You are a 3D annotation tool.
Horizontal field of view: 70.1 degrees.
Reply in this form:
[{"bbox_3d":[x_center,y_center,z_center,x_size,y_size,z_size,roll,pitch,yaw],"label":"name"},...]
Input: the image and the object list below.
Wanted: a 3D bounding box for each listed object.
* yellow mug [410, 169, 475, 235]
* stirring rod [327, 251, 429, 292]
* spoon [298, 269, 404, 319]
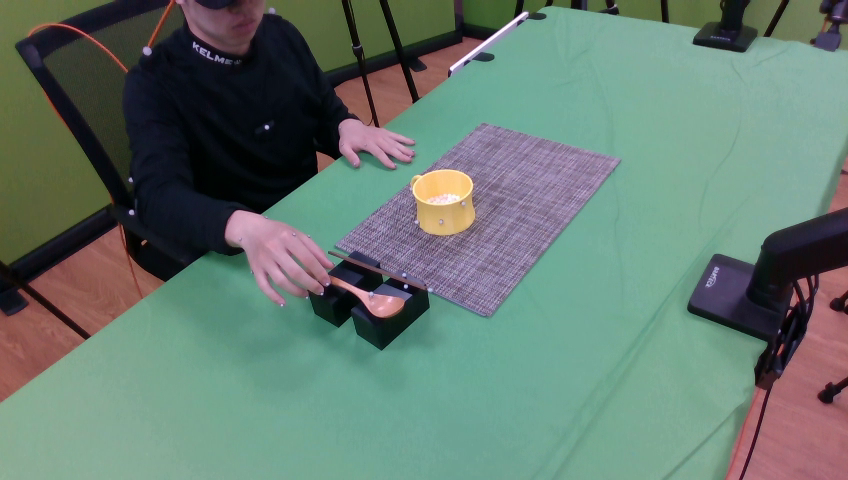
[{"bbox_3d":[0.022,-0.069,1.007,0.129,0.064,0.100,29,52,36],"label":"yellow mug"},{"bbox_3d":[-0.068,0.043,0.858,0.175,0.006,0.014,18,9,27],"label":"stirring rod"},{"bbox_3d":[-0.106,0.068,0.831,0.192,0.022,0.042,21,49,31],"label":"spoon"}]
